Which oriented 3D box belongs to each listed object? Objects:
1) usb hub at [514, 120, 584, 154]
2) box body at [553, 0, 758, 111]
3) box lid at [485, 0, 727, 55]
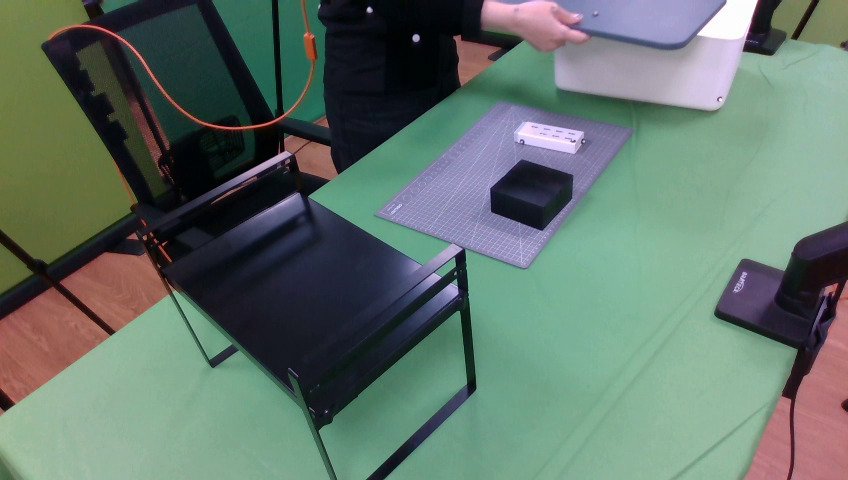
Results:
[{"bbox_3d":[0.241,-0.200,1.164,0.124,0.025,0.049,17,47,26],"label":"usb hub"},{"bbox_3d":[0.480,-0.418,1.282,0.362,0.161,0.254,16,46,25],"label":"box body"},{"bbox_3d":[0.321,-0.425,1.087,0.369,0.015,0.264,25,50,28],"label":"box lid"}]
